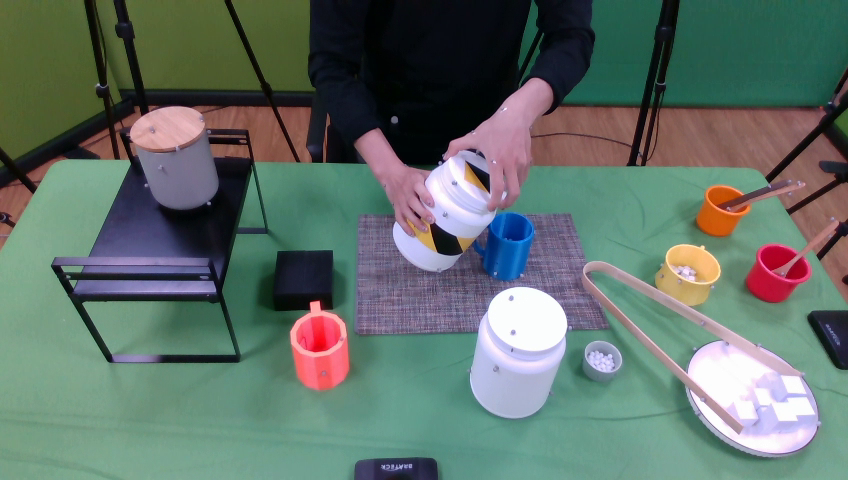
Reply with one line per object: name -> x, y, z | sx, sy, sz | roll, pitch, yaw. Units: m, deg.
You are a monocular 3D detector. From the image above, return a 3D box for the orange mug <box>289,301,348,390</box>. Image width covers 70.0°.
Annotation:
orange mug -> -0.170, 0.162, 0.976 | 0.083, 0.101, 0.125 | -8, 52, -11

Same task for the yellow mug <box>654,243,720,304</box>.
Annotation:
yellow mug -> 0.504, 0.054, 1.154 | 0.099, 0.064, 0.130 | 29, 50, 22

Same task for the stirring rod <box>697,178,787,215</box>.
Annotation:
stirring rod -> 0.650, -0.088, 1.246 | 0.006, 0.176, 0.014 | 29, 50, -39

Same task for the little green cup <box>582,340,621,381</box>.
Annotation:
little green cup -> 0.295, 0.204, 1.014 | 0.061, 0.039, 0.061 | 2, 45, -2

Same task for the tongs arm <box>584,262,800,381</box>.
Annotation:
tongs arm -> 0.451, 0.137, 1.064 | 0.051, 0.027, 0.382 | -34, 50, -27

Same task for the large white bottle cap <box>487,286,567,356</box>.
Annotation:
large white bottle cap -> 0.147, 0.114, 0.869 | 0.115, 0.018, 0.114 | 3, 46, -3

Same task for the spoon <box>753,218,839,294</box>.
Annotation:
spoon -> 0.700, 0.031, 1.138 | 0.194, 0.022, 0.041 | -47, 55, 14

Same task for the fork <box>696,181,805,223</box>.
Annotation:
fork -> 0.659, -0.077, 1.231 | 0.207, 0.019, 0.028 | -26, 35, 34

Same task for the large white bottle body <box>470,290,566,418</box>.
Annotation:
large white bottle body -> 0.143, 0.173, 0.930 | 0.131, 0.185, 0.130 | 2, 46, -2

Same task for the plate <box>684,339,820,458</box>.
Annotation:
plate -> 0.523, 0.256, 0.982 | 0.208, 0.039, 0.206 | 2, 46, -2

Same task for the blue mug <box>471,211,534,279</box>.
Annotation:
blue mug -> 0.141, 0.005, 1.140 | 0.116, 0.106, 0.082 | 18, 48, 13

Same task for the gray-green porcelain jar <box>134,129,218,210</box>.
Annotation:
gray-green porcelain jar -> -0.388, -0.120, 0.960 | 0.106, 0.127, 0.105 | 2, 46, -2

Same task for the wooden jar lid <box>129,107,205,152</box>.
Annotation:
wooden jar lid -> -0.385, -0.163, 0.915 | 0.108, 0.021, 0.107 | 2, 47, -2

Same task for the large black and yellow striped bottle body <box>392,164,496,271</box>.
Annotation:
large black and yellow striped bottle body -> 0.040, -0.047, 1.035 | 0.131, 0.184, 0.130 | 21, 43, -21

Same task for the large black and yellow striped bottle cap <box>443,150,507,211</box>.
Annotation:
large black and yellow striped bottle cap -> 0.083, -0.098, 0.980 | 0.115, 0.019, 0.114 | 22, 44, -22

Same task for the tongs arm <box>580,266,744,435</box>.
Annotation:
tongs arm -> 0.384, 0.173, 1.028 | 0.028, 0.028, 0.385 | -25, 46, -15
